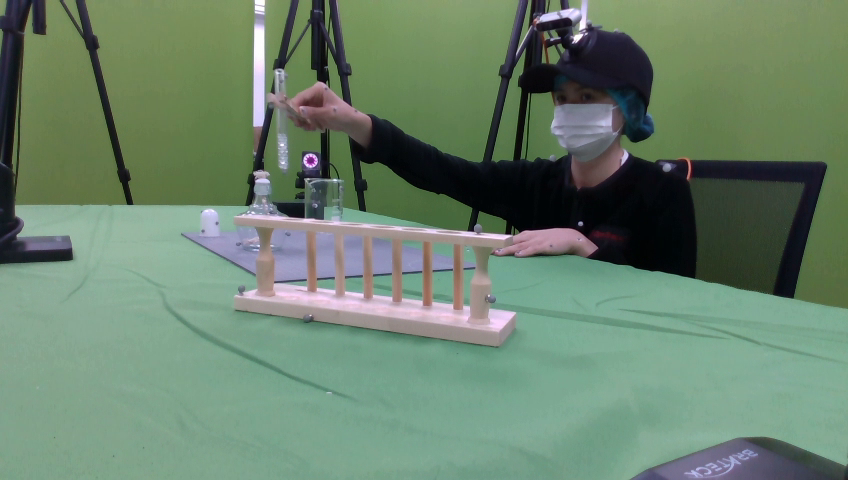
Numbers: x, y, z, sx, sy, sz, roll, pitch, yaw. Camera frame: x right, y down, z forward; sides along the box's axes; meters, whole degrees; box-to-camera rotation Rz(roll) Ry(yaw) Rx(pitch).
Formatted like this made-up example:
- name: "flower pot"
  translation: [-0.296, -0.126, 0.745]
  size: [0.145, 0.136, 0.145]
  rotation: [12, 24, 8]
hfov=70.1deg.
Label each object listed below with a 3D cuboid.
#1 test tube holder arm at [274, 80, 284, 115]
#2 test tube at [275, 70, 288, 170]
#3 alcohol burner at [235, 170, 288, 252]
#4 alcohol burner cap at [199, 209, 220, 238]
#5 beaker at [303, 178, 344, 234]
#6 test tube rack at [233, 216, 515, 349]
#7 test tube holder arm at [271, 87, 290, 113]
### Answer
- name: "test tube holder arm"
  translation: [-0.229, -0.226, 0.954]
  size: [0.015, 0.013, 0.178]
  rotation: [15, 24, -20]
- name: "test tube"
  translation: [-0.209, -0.176, 0.889]
  size: [0.017, 0.150, 0.017]
  rotation: [-3, -7, 0]
- name: "alcohol burner"
  translation: [-0.236, -0.042, 0.882]
  size: [0.078, 0.119, 0.078]
  rotation: [2, 9, 0]
- name: "alcohol burner cap"
  translation: [-0.356, -0.027, 1.002]
  size: [0.034, 0.048, 0.034]
  rotation: [3, 7, 0]
- name: "beaker"
  translation: [-0.189, -0.063, 1.119]
  size: [0.073, 0.100, 0.084]
  rotation: [7, 9, 28]
- name: "test tube rack"
  translation: [-0.045, 0.029, 0.526]
  size: [0.241, 0.085, 0.067]
  rotation: [5, 8, 19]
- name: "test tube holder arm"
  translation: [-0.218, -0.209, 0.915]
  size: [0.015, 0.010, 0.087]
  rotation: [17, -13, -20]
